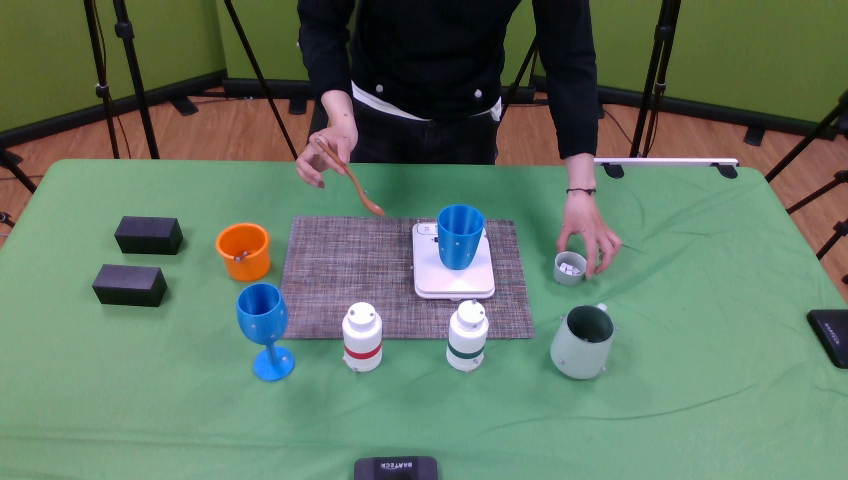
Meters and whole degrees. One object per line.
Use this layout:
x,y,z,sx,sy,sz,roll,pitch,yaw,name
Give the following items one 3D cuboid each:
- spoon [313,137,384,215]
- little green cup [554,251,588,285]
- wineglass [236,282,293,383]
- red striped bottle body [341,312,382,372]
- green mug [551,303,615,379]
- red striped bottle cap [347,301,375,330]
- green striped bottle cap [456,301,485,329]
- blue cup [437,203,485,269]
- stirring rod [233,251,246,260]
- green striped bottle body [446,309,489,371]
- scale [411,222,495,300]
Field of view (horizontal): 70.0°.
-0.126,-0.107,1.033,0.021,0.195,0.041,-33,37,3,spoon
0.277,0.055,1.152,0.061,0.039,0.061,2,46,-2,little green cup
-0.243,0.143,0.934,0.074,0.173,0.073,2,46,-2,wineglass
-0.100,0.154,0.972,0.063,0.120,0.062,2,46,-1,red striped bottle body
0.271,0.157,1.007,0.092,0.105,0.125,27,50,21,green mug
-0.097,0.116,0.934,0.044,0.018,0.044,2,49,-2,red striped bottle cap
0.073,0.116,0.943,0.044,0.020,0.044,3,46,-3,green striped bottle cap
0.062,-0.001,1.098,0.093,0.101,0.092,2,44,-2,blue cup
-0.323,0.026,1.067,0.014,0.006,0.176,-9,4,-13,stirring rod
0.070,0.155,0.984,0.063,0.120,0.063,2,46,-2,green striped bottle body
0.052,0.031,1.158,0.149,0.032,0.199,1,46,-4,scale
